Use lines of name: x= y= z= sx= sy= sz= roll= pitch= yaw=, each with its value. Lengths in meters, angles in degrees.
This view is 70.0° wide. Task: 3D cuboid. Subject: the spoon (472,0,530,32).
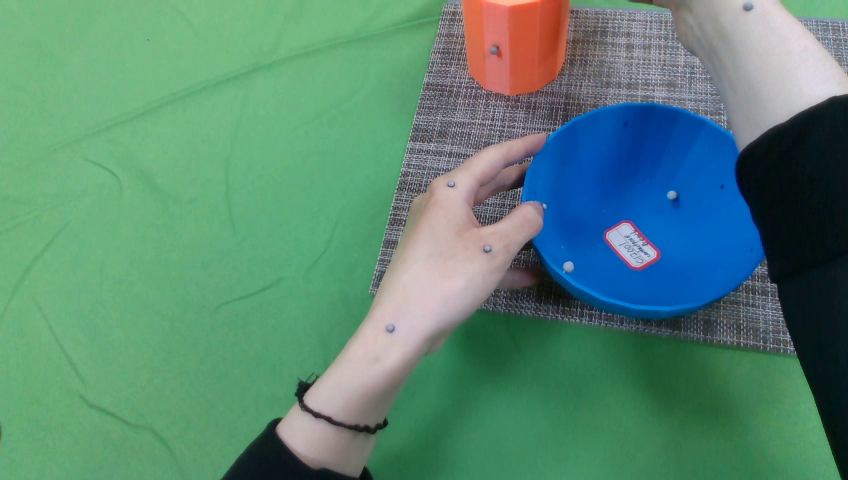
spoon: x=0.100 y=-0.209 z=0.437 sx=0.022 sy=0.193 sz=0.041 roll=43 pitch=52 yaw=-11

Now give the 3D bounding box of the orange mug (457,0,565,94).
orange mug: x=0.077 y=-0.201 z=0.500 sx=0.083 sy=0.101 sz=0.125 roll=18 pitch=72 yaw=17

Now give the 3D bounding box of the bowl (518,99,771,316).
bowl: x=0.139 y=-0.011 z=0.408 sx=0.151 sy=0.077 sz=0.150 roll=-3 pitch=63 yaw=7
